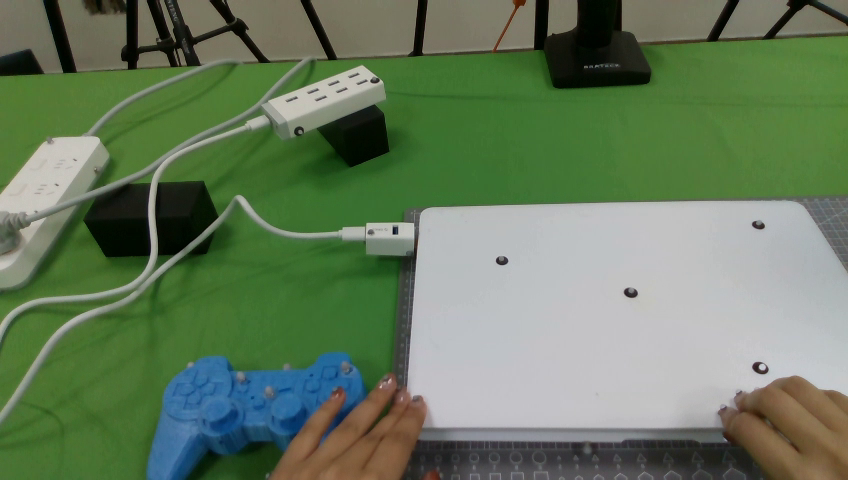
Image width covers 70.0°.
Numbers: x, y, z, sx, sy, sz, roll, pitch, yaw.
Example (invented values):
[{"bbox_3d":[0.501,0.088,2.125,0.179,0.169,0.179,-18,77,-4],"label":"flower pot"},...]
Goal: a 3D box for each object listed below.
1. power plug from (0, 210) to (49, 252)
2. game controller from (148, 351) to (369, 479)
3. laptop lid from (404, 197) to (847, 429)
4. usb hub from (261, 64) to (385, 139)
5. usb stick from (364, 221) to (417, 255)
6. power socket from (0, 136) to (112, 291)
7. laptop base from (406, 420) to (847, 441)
[{"bbox_3d":[-0.377,-0.001,0.557,0.072,0.053,0.035,10,46,11],"label":"power plug"},{"bbox_3d":[-0.115,0.124,0.437,0.155,0.052,0.096,-1,41,3],"label":"game controller"},{"bbox_3d":[0.165,0.044,0.484,0.356,0.013,0.239,0,44,5],"label":"laptop lid"},{"bbox_3d":[-0.107,-0.150,0.653,0.125,0.025,0.049,-28,51,-20],"label":"usb hub"},{"bbox_3d":[-0.025,-0.002,0.552,0.059,0.027,0.021,3,44,-5],"label":"usb stick"},{"bbox_3d":[-0.401,-0.036,0.628,0.072,0.033,0.224,1,45,5],"label":"power socket"},{"bbox_3d":[0.167,0.057,0.499,0.354,0.023,0.233,-1,48,4],"label":"laptop base"}]
